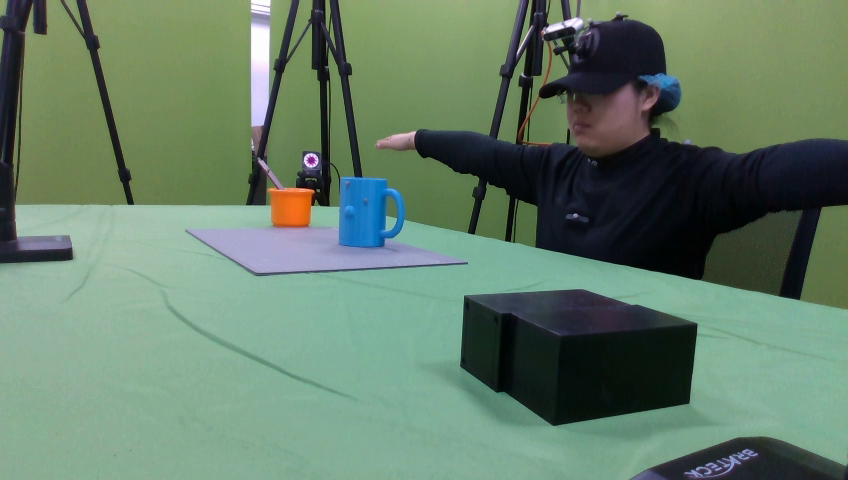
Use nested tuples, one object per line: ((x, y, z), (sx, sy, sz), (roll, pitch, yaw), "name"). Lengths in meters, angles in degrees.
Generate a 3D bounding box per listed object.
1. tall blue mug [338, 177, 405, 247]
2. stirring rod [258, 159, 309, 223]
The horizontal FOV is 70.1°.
((-0.083, -0.046, 0.977), (0.107, 0.108, 0.078), (2, 6, -1), "tall blue mug")
((-0.287, -0.100, 1.233), (0.175, 0.006, 0.014), (51, 32, 15), "stirring rod")
